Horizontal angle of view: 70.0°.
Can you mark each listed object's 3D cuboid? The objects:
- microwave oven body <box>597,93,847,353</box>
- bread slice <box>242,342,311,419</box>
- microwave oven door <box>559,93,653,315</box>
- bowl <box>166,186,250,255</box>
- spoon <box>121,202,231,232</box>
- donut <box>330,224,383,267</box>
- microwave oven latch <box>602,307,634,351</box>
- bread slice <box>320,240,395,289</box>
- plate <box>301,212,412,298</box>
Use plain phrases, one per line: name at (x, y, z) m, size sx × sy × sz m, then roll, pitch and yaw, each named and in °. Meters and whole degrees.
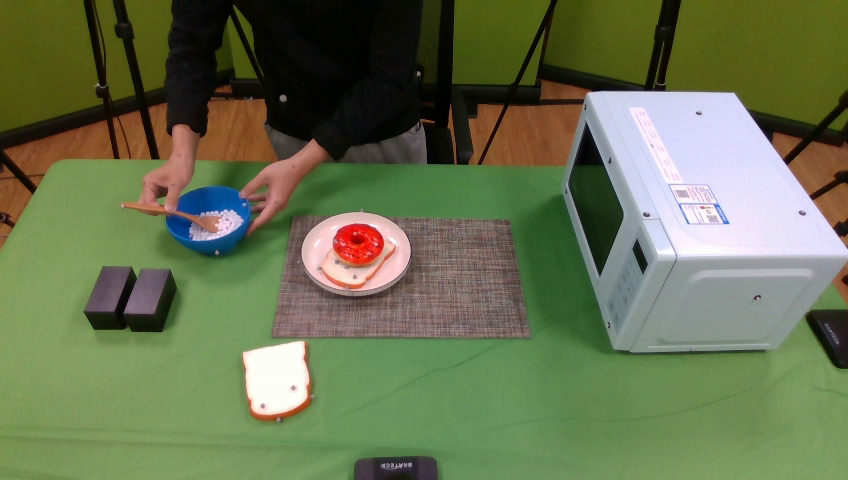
microwave oven body at (0.475, -0.041, 1.109) m, size 0.326 × 0.261 × 0.438 m, roll -1°, pitch 45°, yaw -4°
bread slice at (-0.234, 0.223, 0.970) m, size 0.105 × 0.019 × 0.130 m, roll -10°, pitch 46°, yaw -13°
microwave oven door at (0.327, -0.074, 1.123) m, size 0.039 × 0.245 × 0.353 m, roll -1°, pitch 46°, yaw -5°
bowl at (-0.402, -0.024, 1.153) m, size 0.151 × 0.077 × 0.150 m, roll 1°, pitch 46°, yaw -1°
spoon at (-0.451, -0.046, 1.111) m, size 0.195 × 0.021 × 0.041 m, roll 17°, pitch 40°, yaw -39°
donut at (-0.125, 0.010, 1.127) m, size 0.099 × 0.048 × 0.098 m, roll 3°, pitch 45°, yaw -3°
microwave oven latch at (0.332, 0.153, 1.044) m, size 0.030 × 0.029 × 0.078 m, roll 0°, pitch 45°, yaw -4°
bread slice at (-0.129, 0.037, 1.141) m, size 0.107 × 0.018 × 0.134 m, roll 19°, pitch 47°, yaw 14°
plate at (-0.126, 0.031, 1.145) m, size 0.208 × 0.039 × 0.206 m, roll 2°, pitch 46°, yaw -2°
